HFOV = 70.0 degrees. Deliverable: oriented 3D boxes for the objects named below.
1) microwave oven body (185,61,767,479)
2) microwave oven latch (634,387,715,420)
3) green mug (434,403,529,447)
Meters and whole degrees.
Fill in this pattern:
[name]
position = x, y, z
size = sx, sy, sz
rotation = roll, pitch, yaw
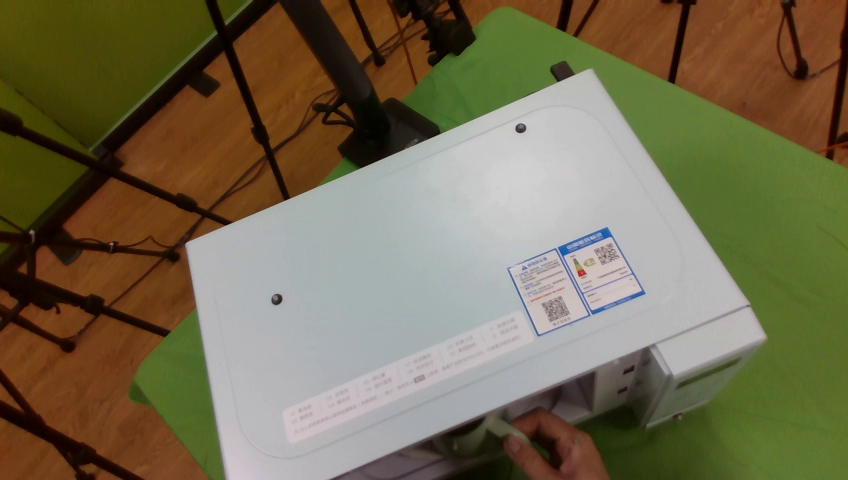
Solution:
[microwave oven body]
position = 0.034, 0.074, 0.639
size = 0.442, 0.262, 0.322
rotation = -24, 62, 2
[microwave oven latch]
position = 0.268, 0.165, 0.649
size = 0.079, 0.030, 0.030
rotation = -22, 62, 3
[green mug]
position = 0.048, 0.166, 0.604
size = 0.124, 0.106, 0.092
rotation = 28, 76, 20
